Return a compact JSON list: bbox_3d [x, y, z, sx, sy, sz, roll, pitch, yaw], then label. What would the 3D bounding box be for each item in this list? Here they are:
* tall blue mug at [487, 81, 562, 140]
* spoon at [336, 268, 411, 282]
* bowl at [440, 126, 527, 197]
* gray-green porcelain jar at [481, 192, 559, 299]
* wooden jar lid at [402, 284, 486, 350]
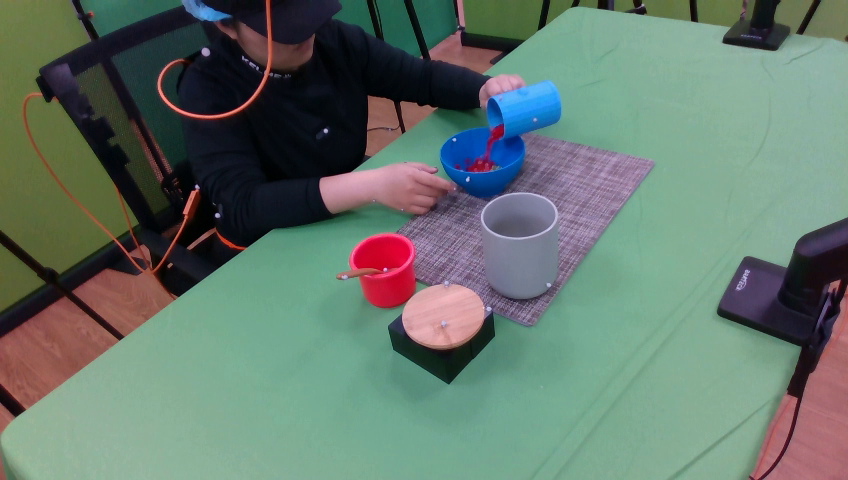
[{"bbox_3d":[0.171,-0.229,1.067,0.108,0.078,0.106,-19,17,-11],"label":"tall blue mug"},{"bbox_3d":[-0.071,0.047,0.850,0.041,0.195,0.021,18,93,24],"label":"spoon"},{"bbox_3d":[0.107,-0.129,1.071,0.151,0.077,0.150,-5,40,5],"label":"bowl"},{"bbox_3d":[0.138,0.012,0.858,0.106,0.127,0.105,-6,40,5],"label":"gray-green porcelain jar"},{"bbox_3d":[0.026,0.101,0.786,0.108,0.021,0.108,-5,39,4],"label":"wooden jar lid"}]
